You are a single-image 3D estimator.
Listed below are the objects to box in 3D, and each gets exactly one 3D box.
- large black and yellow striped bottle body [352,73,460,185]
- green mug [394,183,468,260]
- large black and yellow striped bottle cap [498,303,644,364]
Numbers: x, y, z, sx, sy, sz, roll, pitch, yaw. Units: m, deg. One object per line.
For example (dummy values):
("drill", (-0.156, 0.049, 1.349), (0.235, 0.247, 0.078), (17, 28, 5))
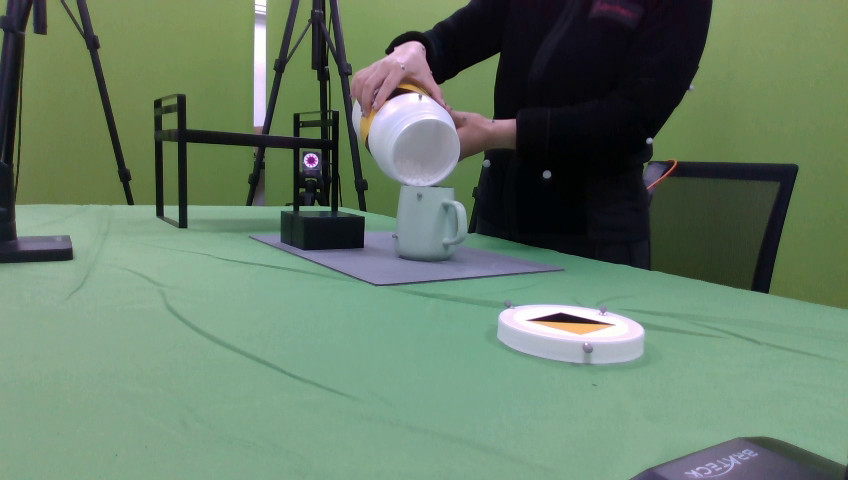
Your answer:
("large black and yellow striped bottle body", (-0.028, -0.169, 0.931), (0.131, 0.130, 0.183), (-1, 30, -23))
("green mug", (0.015, -0.026, 0.858), (0.093, 0.105, 0.124), (-4, 9, -41))
("large black and yellow striped bottle cap", (0.117, 0.072, 0.486), (0.115, 0.019, 0.115), (1, 8, 0))
